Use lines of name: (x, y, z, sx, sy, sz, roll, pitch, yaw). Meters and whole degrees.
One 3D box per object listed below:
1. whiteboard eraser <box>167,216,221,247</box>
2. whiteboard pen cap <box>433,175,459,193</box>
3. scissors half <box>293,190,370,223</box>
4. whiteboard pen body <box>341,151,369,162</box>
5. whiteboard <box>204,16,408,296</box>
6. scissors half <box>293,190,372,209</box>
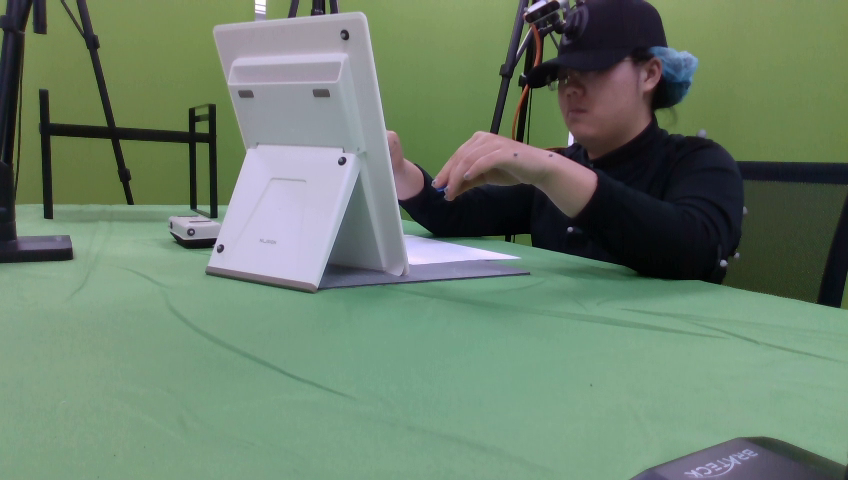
whiteboard eraser: (-0.350, -0.013, 0.920, 0.056, 0.042, 0.112, 0, 7, -35)
whiteboard pen cap: (0.027, -0.069, 0.761, 0.033, 0.018, 0.018, -19, -9, 43)
scissors half: (-0.205, -0.078, 1.339, 0.175, 0.040, 0.013, 22, 13, -8)
whiteboard pen body: (-0.106, -0.130, 0.940, 0.017, 0.017, 0.140, 0, 7, -21)
whiteboard: (-0.166, -0.072, 0.669, 0.216, 0.305, 0.144, 8, 30, 30)
scissors half: (-0.201, -0.096, 1.333, 0.175, 0.040, 0.013, 5, 20, -3)
